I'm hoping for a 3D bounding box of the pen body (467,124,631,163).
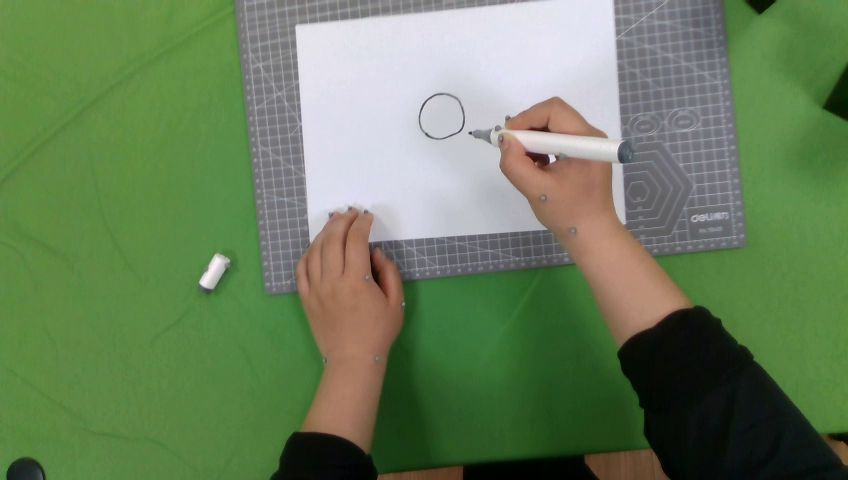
[{"bbox_3d":[0.085,-0.074,0.447,0.143,0.017,0.017,19,92,44],"label":"pen body"}]

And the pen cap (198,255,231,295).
[{"bbox_3d":[-0.204,0.034,0.586,0.017,0.017,0.038,33,91,5],"label":"pen cap"}]
